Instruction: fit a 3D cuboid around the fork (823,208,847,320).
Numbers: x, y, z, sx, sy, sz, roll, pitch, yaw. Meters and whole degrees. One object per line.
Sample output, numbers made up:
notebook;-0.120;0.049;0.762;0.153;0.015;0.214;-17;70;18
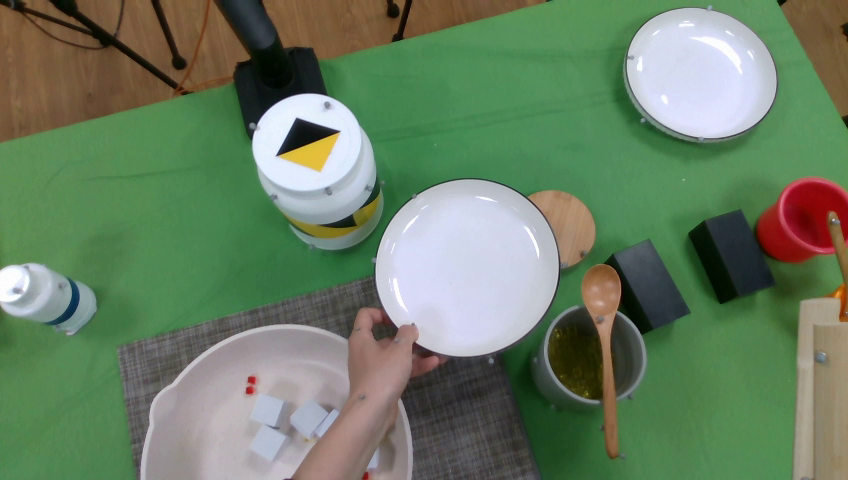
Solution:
fork;0.478;0.049;0.695;0.028;0.018;0.209;-29;119;0

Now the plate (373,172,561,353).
plate;0.048;0.025;0.684;0.207;0.039;0.206;-3;72;8

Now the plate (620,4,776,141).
plate;0.374;-0.228;0.839;0.209;0.038;0.208;0;73;1

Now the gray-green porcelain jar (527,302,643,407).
gray-green porcelain jar;0.174;0.133;0.684;0.106;0.127;0.105;0;72;1

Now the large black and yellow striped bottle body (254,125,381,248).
large black and yellow striped bottle body;-0.123;-0.076;0.721;0.131;0.185;0.130;0;72;1

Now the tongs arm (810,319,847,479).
tongs arm;0.290;0.228;0.442;0.026;0.050;0.386;-6;105;14

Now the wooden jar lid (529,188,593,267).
wooden jar lid;0.163;-0.015;0.786;0.108;0.021;0.108;0;75;1

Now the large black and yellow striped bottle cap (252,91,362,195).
large black and yellow striped bottle cap;-0.124;-0.104;0.641;0.115;0.019;0.114;0;74;0

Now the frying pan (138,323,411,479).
frying pan;-0.203;0.326;0.635;0.306;0.103;0.485;24;66;8

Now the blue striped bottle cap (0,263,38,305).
blue striped bottle cap;-0.451;0.048;0.663;0.044;0.021;0.044;0;75;0

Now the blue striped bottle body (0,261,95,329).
blue striped bottle body;-0.449;0.064;0.712;0.063;0.121;0.062;0;72;1

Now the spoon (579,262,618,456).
spoon;0.182;0.119;0.615;0.042;0.022;0.192;1;76;-4

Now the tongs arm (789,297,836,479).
tongs arm;0.295;0.220;0.462;0.028;0.028;0.390;-8;109;11
